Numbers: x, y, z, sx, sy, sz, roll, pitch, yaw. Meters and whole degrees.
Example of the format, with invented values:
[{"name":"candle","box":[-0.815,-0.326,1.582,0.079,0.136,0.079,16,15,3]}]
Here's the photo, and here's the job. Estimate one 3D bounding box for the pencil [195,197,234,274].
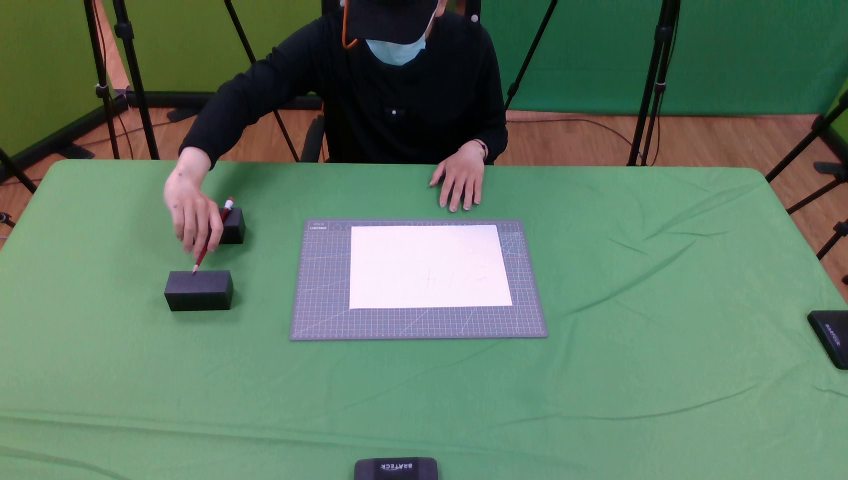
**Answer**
[{"name":"pencil","box":[-0.386,-0.011,1.118,0.012,0.012,0.193,7,48,3]}]
